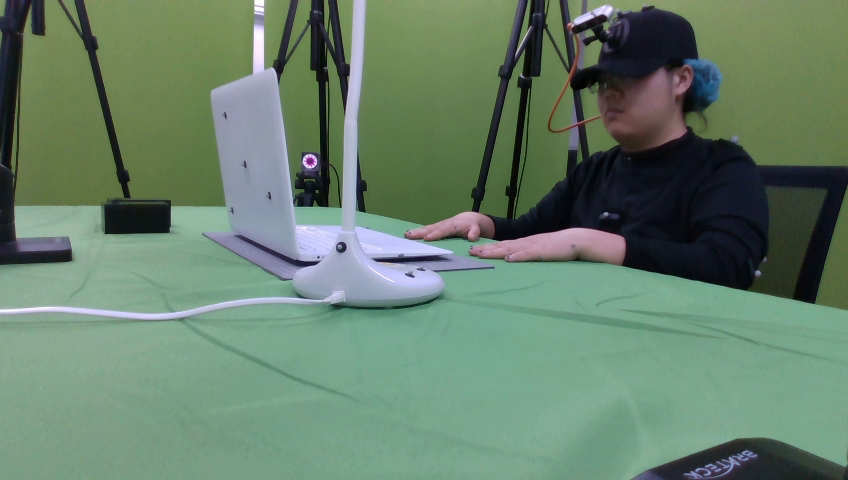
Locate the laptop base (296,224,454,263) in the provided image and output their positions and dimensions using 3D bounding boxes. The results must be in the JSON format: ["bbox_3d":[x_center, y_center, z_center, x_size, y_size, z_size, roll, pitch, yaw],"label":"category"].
[{"bbox_3d":[-0.143,0.004,0.957,0.237,0.023,0.352,2,7,-32],"label":"laptop base"}]

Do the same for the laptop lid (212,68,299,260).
[{"bbox_3d":[-0.254,-0.110,0.872,0.013,0.241,0.355,-11,14,-30],"label":"laptop lid"}]

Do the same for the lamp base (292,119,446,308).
[{"bbox_3d":[-0.056,-0.030,0.616,0.160,0.180,0.179,4,10,8],"label":"lamp base"}]
